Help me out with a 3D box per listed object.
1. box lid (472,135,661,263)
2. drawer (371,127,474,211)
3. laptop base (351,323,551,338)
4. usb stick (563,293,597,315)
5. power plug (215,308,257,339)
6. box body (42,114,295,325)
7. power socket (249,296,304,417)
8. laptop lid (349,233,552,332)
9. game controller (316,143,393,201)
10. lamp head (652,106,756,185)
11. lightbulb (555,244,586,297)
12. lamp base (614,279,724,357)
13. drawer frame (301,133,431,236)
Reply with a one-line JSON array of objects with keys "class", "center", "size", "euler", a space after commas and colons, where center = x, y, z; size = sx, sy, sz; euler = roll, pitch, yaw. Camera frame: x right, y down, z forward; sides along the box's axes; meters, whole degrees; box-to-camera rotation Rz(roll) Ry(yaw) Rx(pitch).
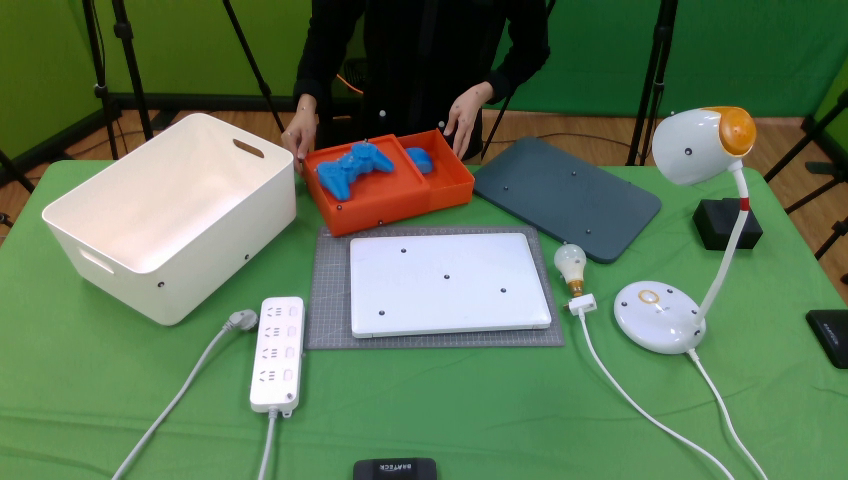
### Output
[{"class": "box lid", "center": [0.306, -0.102, 1.327], "size": [0.370, 0.015, 0.263], "euler": [32, 52, 25]}, {"class": "drawer", "center": [-0.029, -0.144, 1.295], "size": [0.212, 0.073, 0.193], "euler": [-15, 50, -19]}, {"class": "laptop base", "center": [0.039, 0.080, 1.125], "size": [0.355, 0.023, 0.234], "euler": [-2, 43, -6]}, {"class": "usb stick", "center": [0.280, 0.118, 1.093], "size": [0.059, 0.021, 0.027], "euler": [-18, 35, 25]}, {"class": "power plug", "center": [-0.317, 0.143, 1.024], "size": [0.072, 0.053, 0.035], "euler": [-32, 58, -9]}, {"class": "box body", "center": [-0.437, -0.046, 1.110], "size": [0.253, 0.161, 0.363], "euler": [24, 49, 19]}, {"class": "power socket", "center": [-0.239, 0.182, 0.996], "size": [0.072, 0.033, 0.225], "euler": [-2, 47, -5]}, {"class": "laptop lid", "center": [0.040, 0.070, 1.119], "size": [0.357, 0.013, 0.240], "euler": [-1, 44, -5]}, {"class": "game controller", "center": [-0.143, -0.146, 1.211], "size": [0.096, 0.052, 0.155], "euler": [32, 50, 29]}, {"class": "lamp head", "center": [0.410, -0.139, 0.869], "size": [0.113, 0.122, 0.112], "euler": [0, 89, -19]}, {"class": "lightbulb", "center": [0.281, 0.058, 1.146], "size": [0.059, 0.060, 0.107], "euler": [-2, 62, -6]}, {"class": "lamp base", "center": [0.436, 0.090, 1.035], "size": [0.161, 0.181, 0.178], "euler": [-23, 55, -23]}, {"class": "drawer frame", "center": [-0.122, -0.120, 1.259], "size": [0.214, 0.083, 0.200], "euler": [-16, 50, -20]}]
